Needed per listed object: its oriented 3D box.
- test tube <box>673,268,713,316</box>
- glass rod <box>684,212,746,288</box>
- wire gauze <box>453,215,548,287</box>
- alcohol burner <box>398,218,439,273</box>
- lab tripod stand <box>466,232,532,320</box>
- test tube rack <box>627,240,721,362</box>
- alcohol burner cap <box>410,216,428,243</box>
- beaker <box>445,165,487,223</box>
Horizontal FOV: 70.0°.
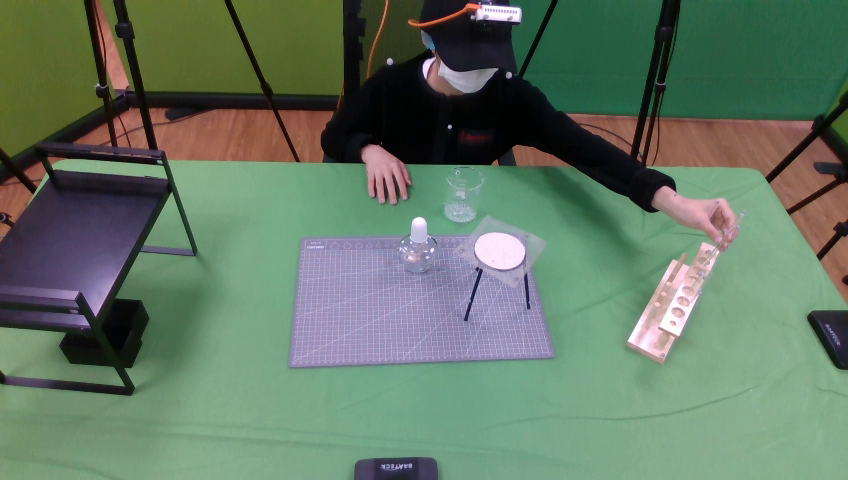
[{"bbox_3d":[0.445,0.098,1.017,0.017,0.151,0.017,4,49,-4],"label":"test tube"},{"bbox_3d":[0.501,0.022,1.051,0.008,0.200,0.008,6,48,-7],"label":"glass rod"},{"bbox_3d":[0.129,0.012,1.017,0.124,0.011,0.121,28,50,23],"label":"wire gauze"},{"bbox_3d":[-0.010,0.004,1.124,0.078,0.120,0.077,1,47,-1],"label":"alcohol burner"},{"bbox_3d":[0.125,0.059,1.065,0.148,0.132,0.147,1,45,0],"label":"lab tripod stand"},{"bbox_3d":[0.452,0.098,1.087,0.066,0.085,0.242,28,51,22],"label":"test tube rack"},{"bbox_3d":[-0.009,-0.022,1.099,0.034,0.048,0.033,2,42,-2],"label":"alcohol burner cap"},{"bbox_3d":[0.082,-0.091,1.236,0.084,0.101,0.073,-7,48,-11],"label":"beaker"}]
